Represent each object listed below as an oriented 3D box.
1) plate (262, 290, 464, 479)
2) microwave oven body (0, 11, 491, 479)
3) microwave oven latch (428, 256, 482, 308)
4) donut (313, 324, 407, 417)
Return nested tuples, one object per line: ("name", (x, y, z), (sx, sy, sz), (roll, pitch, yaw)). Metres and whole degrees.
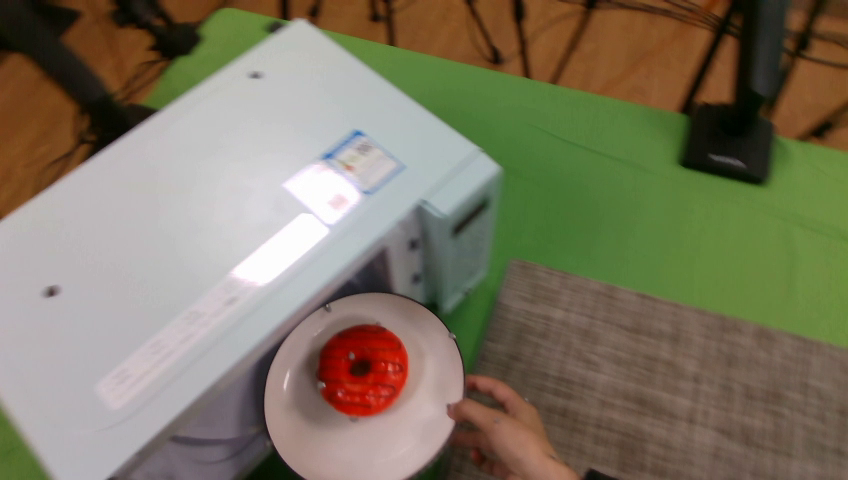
("plate", (-0.060, 0.151, 0.623), (0.209, 0.038, 0.207), (-5, 58, 8))
("microwave oven body", (-0.195, 0.029, 0.656), (0.324, 0.262, 0.441), (39, 70, 19))
("microwave oven latch", (0.038, 0.046, 0.750), (0.030, 0.030, 0.079), (39, 70, 20))
("donut", (-0.066, 0.133, 0.623), (0.099, 0.048, 0.098), (-3, 59, 4))
